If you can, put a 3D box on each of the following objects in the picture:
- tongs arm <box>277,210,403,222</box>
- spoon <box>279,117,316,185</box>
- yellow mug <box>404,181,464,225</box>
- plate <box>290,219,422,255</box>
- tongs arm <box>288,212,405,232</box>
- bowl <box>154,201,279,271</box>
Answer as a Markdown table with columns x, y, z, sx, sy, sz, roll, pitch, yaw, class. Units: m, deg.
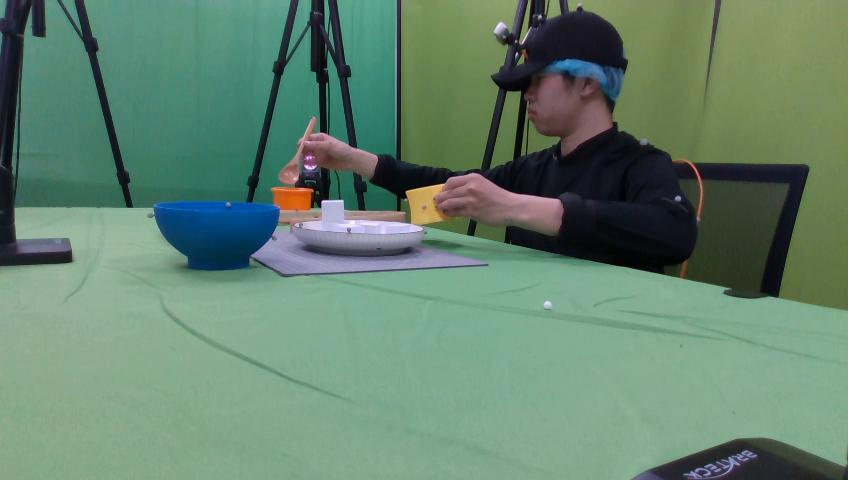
| x | y | z | sx | sy | sz | roll | pitch | yaw | class |
| --- | --- | --- | --- | --- | --- | --- | --- | --- | --- |
| -0.206 | -0.051 | 1.333 | 0.387 | 0.026 | 0.050 | -2 | 8 | -44 | tongs arm |
| -0.280 | -0.204 | 1.371 | 0.042 | 0.193 | 0.021 | 23 | -24 | -9 | spoon |
| 0.025 | -0.067 | 1.089 | 0.100 | 0.064 | 0.130 | -12 | 5 | -27 | yellow mug |
| -0.108 | -0.005 | 0.963 | 0.208 | 0.039 | 0.207 | 3 | 7 | 0 | plate |
| -0.146 | -0.040 | 1.280 | 0.028 | 0.028 | 0.389 | 3 | 5 | 33 | tongs arm |
| -0.263 | -0.005 | 0.773 | 0.151 | 0.077 | 0.151 | 3 | 8 | 0 | bowl |
